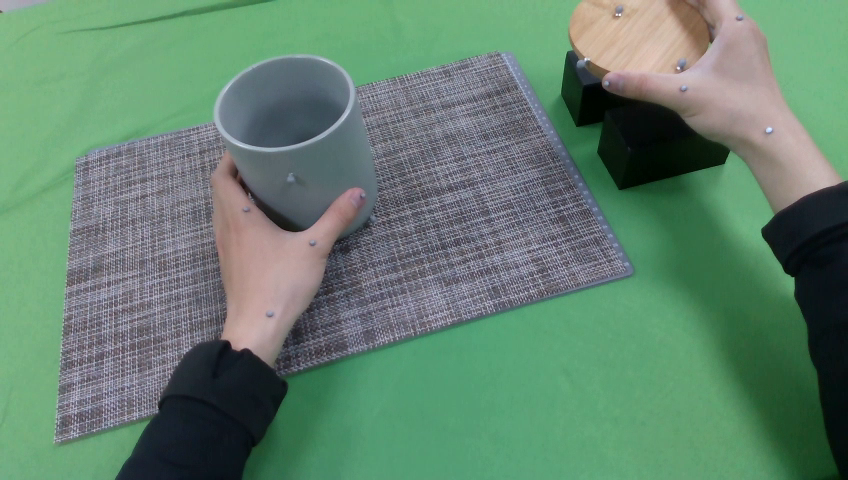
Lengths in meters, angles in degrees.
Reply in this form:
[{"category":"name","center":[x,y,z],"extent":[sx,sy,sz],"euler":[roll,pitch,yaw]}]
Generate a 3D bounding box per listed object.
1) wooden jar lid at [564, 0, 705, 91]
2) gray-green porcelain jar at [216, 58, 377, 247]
[{"category":"wooden jar lid","center":[0.166,-0.159,0.484],"extent":[0.108,0.021,0.107],"euler":[-1,59,2]},{"category":"gray-green porcelain jar","center":[-0.096,-0.064,0.496],"extent":[0.106,0.128,0.105],"euler":[-3,54,4]}]
